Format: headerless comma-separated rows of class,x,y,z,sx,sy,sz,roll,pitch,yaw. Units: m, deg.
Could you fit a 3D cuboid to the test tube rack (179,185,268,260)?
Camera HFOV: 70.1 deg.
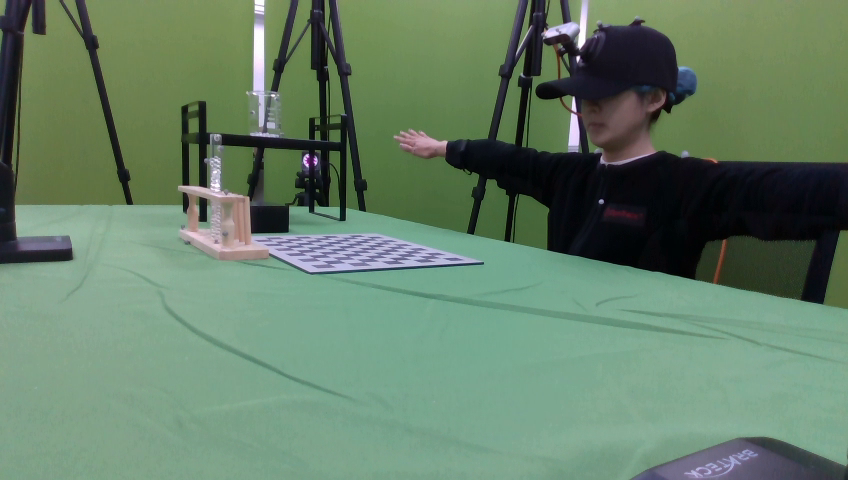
test tube rack,-0.303,-0.031,0.898,0.067,0.085,0.241,-2,9,-33

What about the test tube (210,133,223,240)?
test tube,-0.293,-0.075,0.852,0.017,0.150,0.017,1,2,0

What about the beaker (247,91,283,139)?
beaker,-0.357,-0.278,1.348,0.073,0.100,0.084,9,10,39
